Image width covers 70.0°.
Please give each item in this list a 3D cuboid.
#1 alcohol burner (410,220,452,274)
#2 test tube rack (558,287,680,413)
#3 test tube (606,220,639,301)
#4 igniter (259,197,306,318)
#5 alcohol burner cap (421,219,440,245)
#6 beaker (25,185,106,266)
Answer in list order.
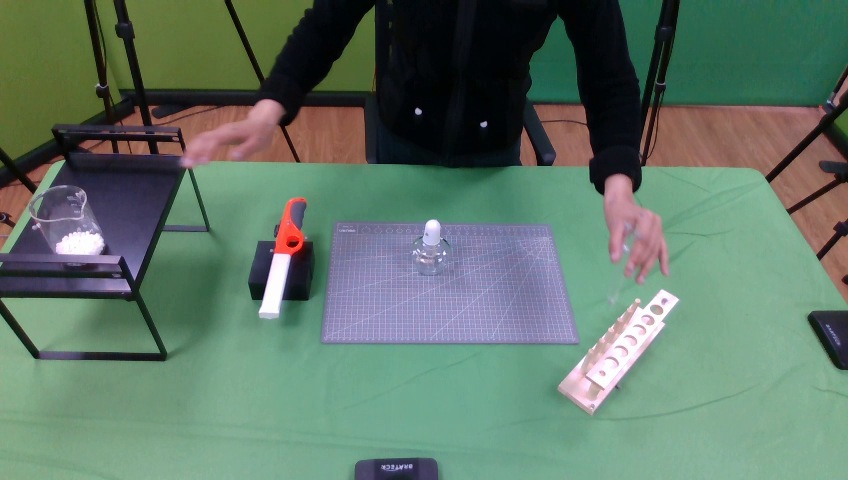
[{"bbox_3d":[0.013,0.008,1.120,0.078,0.120,0.077,1,48,-1],"label":"alcohol burner"},{"bbox_3d":[0.327,0.170,1.009,0.066,0.085,0.242,36,54,26],"label":"test tube rack"},{"bbox_3d":[0.287,0.033,0.878,0.017,0.151,0.017,1,39,-1],"label":"test tube"},{"bbox_3d":[-0.251,0.021,1.088,0.057,0.025,0.275,4,48,-2],"label":"igniter"},{"bbox_3d":[0.014,-0.017,1.094,0.034,0.048,0.033,5,43,-5],"label":"alcohol burner cap"},{"bbox_3d":[-0.507,-0.017,0.871,0.084,0.101,0.074,23,49,17],"label":"beaker"}]
